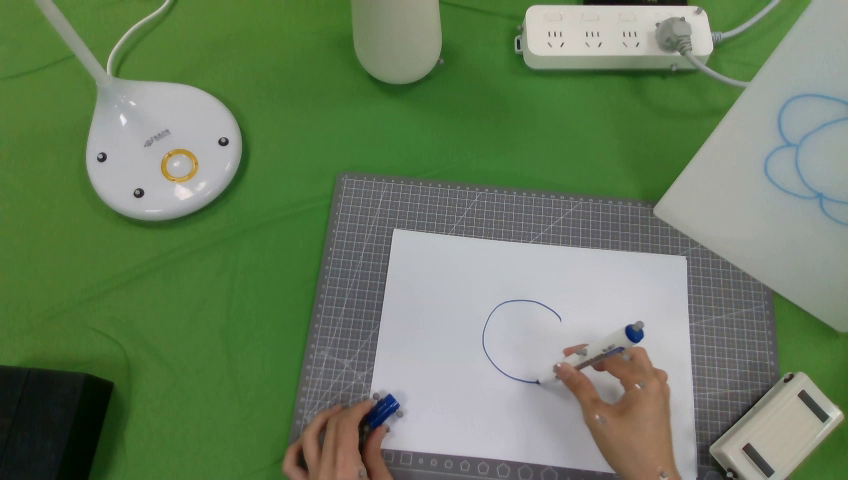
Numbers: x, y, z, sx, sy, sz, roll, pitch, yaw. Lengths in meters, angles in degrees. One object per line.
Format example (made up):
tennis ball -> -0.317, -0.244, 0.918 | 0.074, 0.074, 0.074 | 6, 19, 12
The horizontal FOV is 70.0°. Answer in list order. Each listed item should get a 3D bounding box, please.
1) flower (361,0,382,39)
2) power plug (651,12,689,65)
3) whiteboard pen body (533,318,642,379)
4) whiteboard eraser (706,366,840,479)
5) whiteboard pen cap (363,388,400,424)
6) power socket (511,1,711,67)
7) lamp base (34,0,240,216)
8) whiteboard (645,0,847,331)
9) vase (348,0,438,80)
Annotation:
flower -> -0.016, -0.271, 0.529 | 0.044, 0.361, 0.038 | -37, 91, -22
power plug -> 0.265, -0.215, 0.662 | 0.035, 0.053, 0.072 | 10, 76, 4
whiteboard pen body -> 0.132, 0.097, 0.515 | 0.017, 0.141, 0.017 | 13, 57, -21
whiteboard eraser -> 0.307, 0.166, 0.537 | 0.112, 0.042, 0.055 | -37, 73, -13
whiteboard pen cap -> -0.038, 0.152, 0.554 | 0.033, 0.018, 0.018 | -40, 74, -18
power socket -> 0.214, -0.235, 0.693 | 0.227, 0.033, 0.071 | 0, 70, -1
lamp base -> -0.287, -0.134, 0.573 | 0.178, 0.181, 0.160 | 37, 73, 16
whiteboard -> 0.387, -0.100, 0.532 | 0.216, 0.307, 0.143 | 36, 53, 13
vase -> -0.034, -0.252, 0.609 | 0.098, 0.201, 0.097 | 0, 69, 1
